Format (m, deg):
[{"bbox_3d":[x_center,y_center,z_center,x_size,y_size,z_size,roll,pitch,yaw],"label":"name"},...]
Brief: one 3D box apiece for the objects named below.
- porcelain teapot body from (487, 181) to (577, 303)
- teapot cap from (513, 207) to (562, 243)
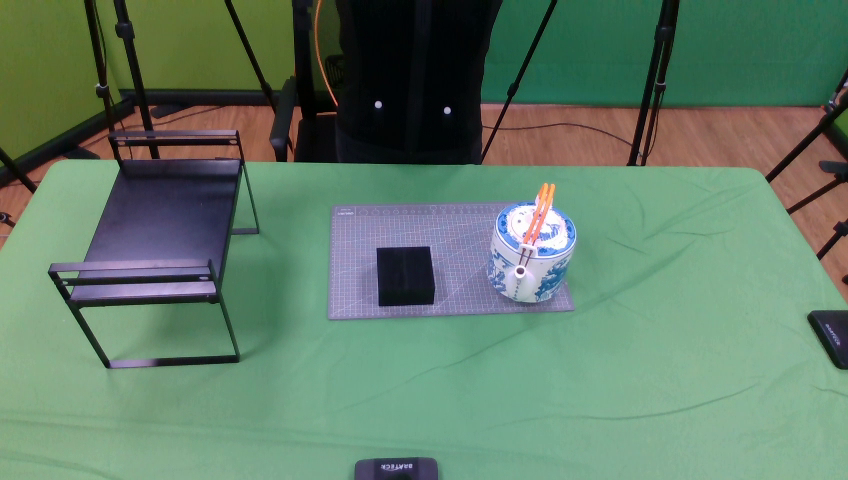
[{"bbox_3d":[0.185,0.018,1.048,0.145,0.226,0.204,15,48,10],"label":"porcelain teapot body"},{"bbox_3d":[0.196,-0.029,1.039,0.085,0.044,0.084,4,49,-4],"label":"teapot cap"}]
